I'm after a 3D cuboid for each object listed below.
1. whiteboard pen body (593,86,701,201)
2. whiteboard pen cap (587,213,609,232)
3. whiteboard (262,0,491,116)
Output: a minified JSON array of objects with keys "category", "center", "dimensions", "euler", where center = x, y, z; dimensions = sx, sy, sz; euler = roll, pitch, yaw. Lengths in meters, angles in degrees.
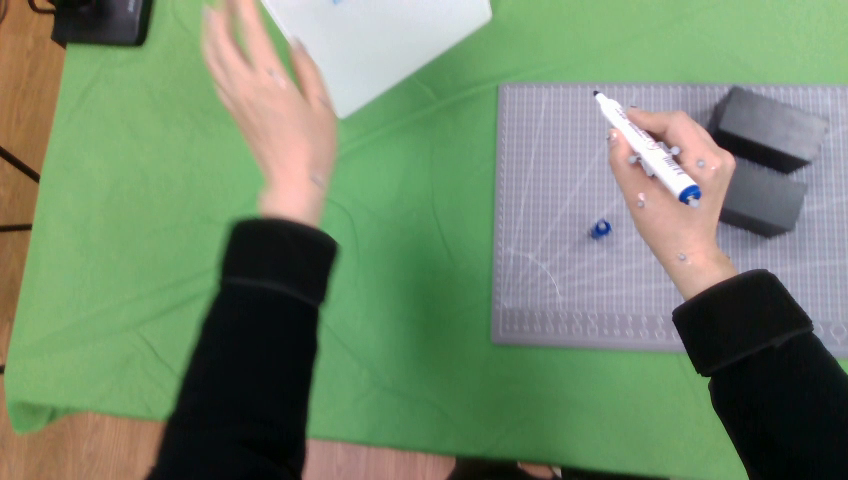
[{"category":"whiteboard pen body","center":[0.161,-0.078,0.454],"dimensions":[0.017,0.017,0.139],"euler":[-24,49,1]},{"category":"whiteboard pen cap","center":[0.185,-0.018,0.646],"dimensions":[0.018,0.033,0.018],"euler":[0,84,3]},{"category":"whiteboard","center":[-0.084,-0.317,0.605],"dimensions":[0.217,0.308,0.142],"euler":[-34,61,0]}]
